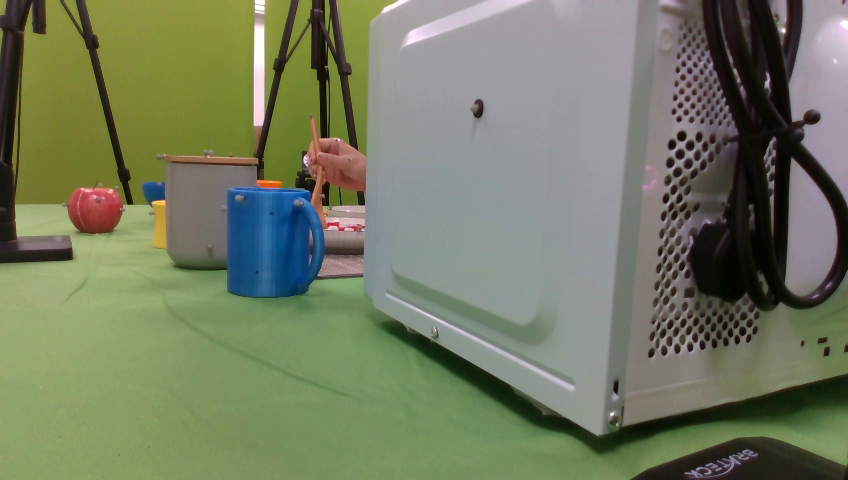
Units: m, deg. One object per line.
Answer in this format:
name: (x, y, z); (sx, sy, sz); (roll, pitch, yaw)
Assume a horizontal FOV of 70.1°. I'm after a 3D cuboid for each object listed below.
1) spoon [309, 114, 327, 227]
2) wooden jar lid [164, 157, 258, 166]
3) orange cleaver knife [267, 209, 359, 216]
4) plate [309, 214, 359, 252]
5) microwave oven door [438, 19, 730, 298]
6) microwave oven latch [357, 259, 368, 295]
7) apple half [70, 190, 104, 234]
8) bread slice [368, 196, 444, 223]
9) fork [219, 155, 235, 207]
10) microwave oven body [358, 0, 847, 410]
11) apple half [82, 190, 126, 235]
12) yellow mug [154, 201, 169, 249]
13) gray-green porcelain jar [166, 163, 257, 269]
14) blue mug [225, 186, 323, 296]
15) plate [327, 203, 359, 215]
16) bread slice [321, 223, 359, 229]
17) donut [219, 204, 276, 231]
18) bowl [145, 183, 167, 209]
spoon: (-0.171, -0.112, 0.968); (0.021, 0.193, 0.042); (-8, -14, 16)
wooden jar lid: (-0.261, -0.093, 0.746); (0.108, 0.020, 0.108); (0, 9, 0)
orange cleaver knife: (-0.259, -0.064, 1.423); (0.212, 0.012, 0.077); (-4, 3, -30)
plate: (-0.130, -0.011, 0.945); (0.208, 0.039, 0.207); (2, 8, 0)
microwave oven door: (0.181, -0.076, 0.618); (0.358, 0.243, 0.039); (-2, 8, -28)
microwave oven latch: (-0.019, 0.031, 0.529); (0.079, 0.029, 0.030); (-1, 7, -26)
apple half: (-0.552, -0.047, 1.009); (0.053, 0.074, 0.081); (0, 9, 26)
bread slice: (-0.040, -0.057, 1.142); (0.107, 0.018, 0.133); (-8, -8, -39)
fork: (-0.459, -0.134, 1.415); (0.028, 0.018, 0.207); (-1, -34, -24)
microwave oven body: (0.210, -0.051, 0.471); (0.444, 0.260, 0.324); (-1, 7, -28)
apple half: (-0.517, -0.046, 0.994); (0.032, 0.081, 0.081); (0, 6, 26)
yellow mug: (-0.338, -0.022, 0.899); (0.130, 0.064, 0.100); (8, 9, 34)
gray-green porcelain jar: (-0.263, -0.031, 0.754); (0.106, 0.126, 0.106); (2, 7, 0)
blue mug: (-0.148, 0.000, 0.618); (0.116, 0.106, 0.083); (7, 9, 33)
plate: (-0.102, -0.053, 1.299); (0.209, 0.038, 0.209); (2, 8, 0)
bread slice: (-0.124, -0.010, 0.938); (0.131, 0.019, 0.105); (7, 10, 31)
donut: (-0.316, -0.039, 1.083); (0.099, 0.048, 0.099); (3, 7, 0)
bowl: (-0.459, -0.068, 1.175); (0.151, 0.077, 0.151); (3, 7, 0)
